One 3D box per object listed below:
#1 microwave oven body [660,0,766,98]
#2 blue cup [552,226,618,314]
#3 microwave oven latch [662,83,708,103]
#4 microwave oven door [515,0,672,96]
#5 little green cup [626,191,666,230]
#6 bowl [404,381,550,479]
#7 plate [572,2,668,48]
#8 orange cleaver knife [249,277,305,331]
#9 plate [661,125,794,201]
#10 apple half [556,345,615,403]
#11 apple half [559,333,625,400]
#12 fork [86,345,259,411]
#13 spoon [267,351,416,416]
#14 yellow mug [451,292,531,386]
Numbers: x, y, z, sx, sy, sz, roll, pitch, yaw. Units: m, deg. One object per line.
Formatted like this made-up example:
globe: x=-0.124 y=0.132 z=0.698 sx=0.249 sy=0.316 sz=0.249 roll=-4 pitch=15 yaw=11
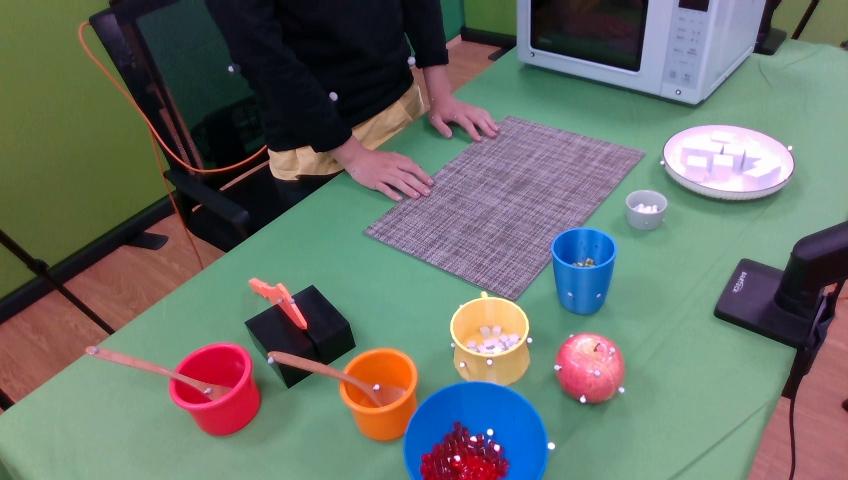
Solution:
microwave oven body: x=0.472 y=-0.513 z=1.317 sx=0.438 sy=0.261 sz=0.327 roll=26 pitch=51 yaw=34
blue cup: x=0.218 y=0.047 z=0.826 sx=0.092 sy=0.101 sz=0.092 roll=-6 pitch=40 yaw=5
microwave oven latch: x=0.518 y=-0.296 z=1.204 sx=0.078 sy=0.029 sz=0.030 roll=27 pitch=52 yaw=35
microwave oven door: x=0.343 y=-0.455 z=1.259 sx=0.353 sy=0.245 sz=0.039 roll=26 pitch=51 yaw=33
little green cup: x=0.352 y=-0.046 z=0.963 sx=0.061 sy=0.039 sz=0.061 roll=-4 pitch=40 yaw=4
bowl: x=0.058 y=0.235 z=0.645 sx=0.151 sy=0.077 sz=0.150 roll=-4 pitch=39 yaw=4
plate: x=0.441 y=-0.483 z=1.366 sx=0.209 sy=0.038 sz=0.208 roll=-4 pitch=41 yaw=4
orange cleaver knife: x=-0.210 y=0.088 z=0.855 sx=0.012 sy=0.077 sz=0.210 roll=-28 pitch=15 yaw=-25
plate: x=0.513 y=-0.128 z=1.035 sx=0.207 sy=0.039 sz=0.206 roll=-4 pitch=40 yaw=4
apple half: x=0.181 y=0.167 z=0.709 sx=0.080 sy=0.081 sz=0.033 roll=29 pitch=50 yaw=35
apple half: x=0.209 y=0.147 z=0.730 sx=0.080 sy=0.075 sz=0.053 roll=26 pitch=48 yaw=38
fork: x=-0.298 y=0.166 z=0.728 sx=0.209 sy=0.018 sz=0.028 roll=28 pitch=46 yaw=-23
spoon: x=-0.091 y=0.162 z=0.699 sx=0.021 sy=0.195 sz=0.041 roll=-44 pitch=31 yaw=27
yellow mug: x=0.085 y=0.120 z=0.786 sx=0.100 sy=0.064 sz=0.130 roll=-7 pitch=39 yaw=1
